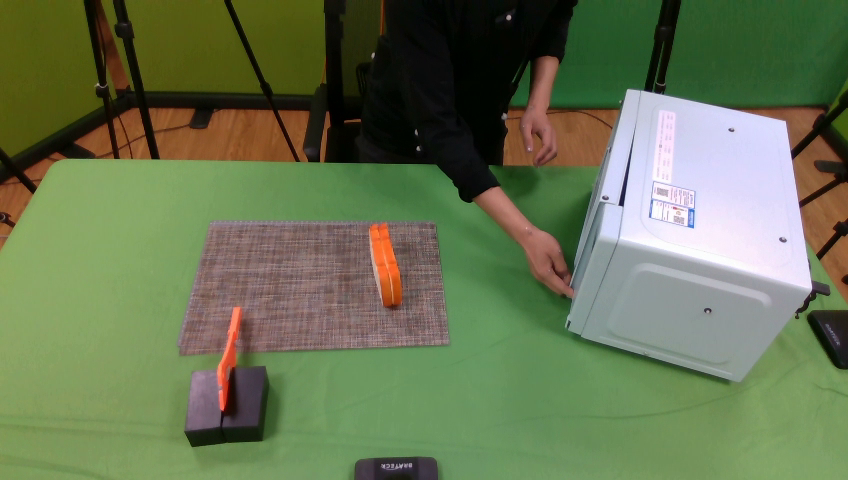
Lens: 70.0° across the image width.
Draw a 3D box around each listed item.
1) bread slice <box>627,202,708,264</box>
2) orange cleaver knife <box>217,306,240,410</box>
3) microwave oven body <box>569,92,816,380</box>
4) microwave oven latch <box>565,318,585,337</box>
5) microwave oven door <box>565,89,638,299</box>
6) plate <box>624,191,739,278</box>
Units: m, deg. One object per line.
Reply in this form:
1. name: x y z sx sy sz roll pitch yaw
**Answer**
1. bread slice: 0.474 -0.020 1.170 0.134 0.018 0.106 -31 57 -17
2. orange cleaver knife: -0.307 0.180 0.957 0.012 0.077 0.210 -2 25 -8
3. microwave oven body: 0.469 -0.021 1.082 0.325 0.261 0.440 15 46 11
4. microwave oven latch: 0.273 0.131 1.054 0.030 0.029 0.079 28 50 23
5. microwave oven door: 0.338 -0.092 1.133 0.039 0.245 0.354 17 47 12
6. plate: 0.482 -0.007 1.149 0.208 0.039 0.206 0 50 0
